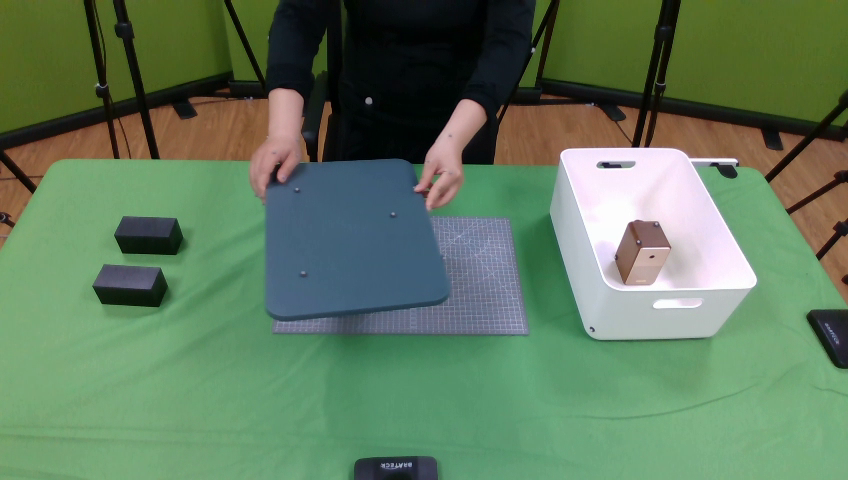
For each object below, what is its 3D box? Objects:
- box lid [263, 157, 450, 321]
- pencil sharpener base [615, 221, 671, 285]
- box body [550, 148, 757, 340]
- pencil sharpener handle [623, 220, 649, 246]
[{"bbox_3d":[-0.118,-0.020,0.958,0.264,0.015,0.369,-5,41,-10],"label":"box lid"},{"bbox_3d":[0.408,0.024,1.136,0.061,0.107,0.076,-1,45,-4],"label":"pencil sharpener base"},{"bbox_3d":[0.395,0.003,1.127,0.254,0.161,0.361,-1,46,-5],"label":"box body"},{"bbox_3d":[0.402,-0.020,1.163,0.036,0.068,0.030,5,44,-10],"label":"pencil sharpener handle"}]
